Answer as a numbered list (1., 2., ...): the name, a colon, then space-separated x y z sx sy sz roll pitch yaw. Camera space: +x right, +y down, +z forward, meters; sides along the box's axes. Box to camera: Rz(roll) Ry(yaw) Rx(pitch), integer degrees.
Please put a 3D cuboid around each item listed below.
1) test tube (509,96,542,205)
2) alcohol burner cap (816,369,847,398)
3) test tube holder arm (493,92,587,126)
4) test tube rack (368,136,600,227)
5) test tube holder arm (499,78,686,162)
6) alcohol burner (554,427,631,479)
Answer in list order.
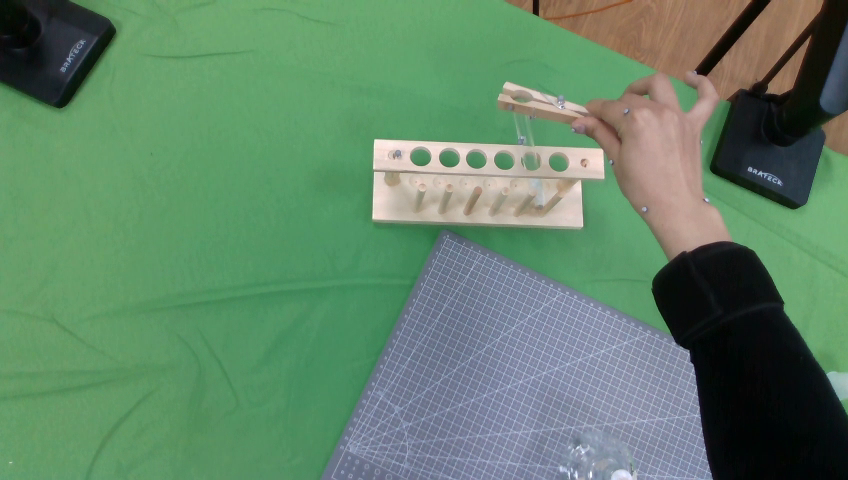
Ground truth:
1. test tube: 0.107 -0.087 0.630 0.017 0.152 0.017 -10 51 13
2. alcohol burner cap: 0.465 0.159 0.672 0.034 0.048 0.033 1 75 -4
3. test tube holder arm: 0.107 -0.121 0.560 0.087 0.015 0.010 15 71 13
4. test tube rack: 0.061 -0.061 0.664 0.243 0.085 0.066 2 76 -5
5. test tube holder arm: 0.150 -0.110 0.551 0.177 0.015 0.013 25 75 16
6. alcohol burner: 0.170 0.224 0.590 0.078 0.119 0.077 1 78 -5
